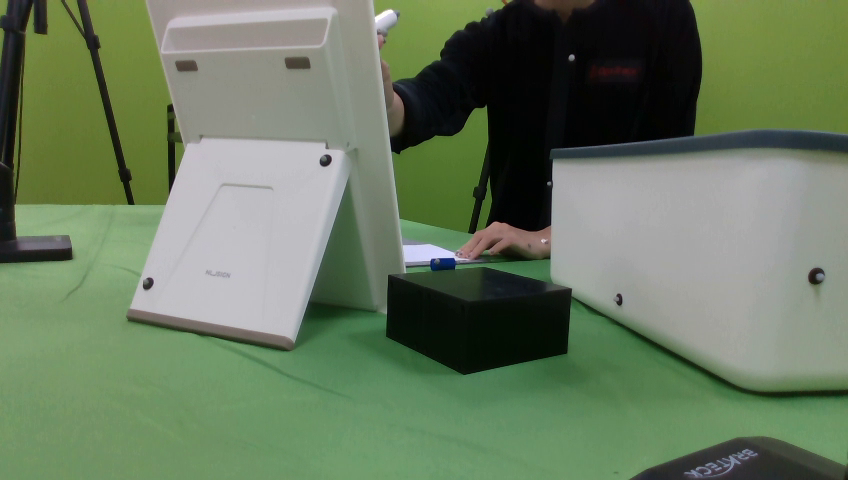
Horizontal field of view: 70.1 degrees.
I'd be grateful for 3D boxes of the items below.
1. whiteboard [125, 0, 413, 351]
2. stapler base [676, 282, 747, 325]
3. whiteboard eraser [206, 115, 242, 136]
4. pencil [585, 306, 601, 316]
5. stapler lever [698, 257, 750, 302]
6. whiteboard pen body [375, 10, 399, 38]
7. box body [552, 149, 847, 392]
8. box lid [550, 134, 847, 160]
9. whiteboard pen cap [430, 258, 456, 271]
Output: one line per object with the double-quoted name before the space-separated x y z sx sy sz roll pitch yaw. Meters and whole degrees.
"whiteboard" -0.151 -0.050 0.471 0.216 0.305 0.144 6 27 24
"stapler base" 0.283 0.057 0.585 0.041 0.024 0.131 31 18 33
"whiteboard eraser" -0.438 -0.249 1.320 0.056 0.042 0.112 -3 9 -30
"pencil" 0.250 0.055 0.656 0.195 0.012 0.012 -12 14 -27
"stapler lever" 0.291 0.035 0.580 0.026 0.040 0.119 31 20 33
"whiteboard pen body" -0.052 -0.183 0.537 0.017 0.017 0.141 5 33 18
"box body" 0.290 0.002 0.549 0.255 0.160 0.363 2 7 -10
"box lid" 0.294 -0.071 0.538 0.264 0.015 0.370 2 6 -10
"whiteboard pen cap" 0.024 0.031 0.791 0.033 0.018 0.018 1 8 -13
